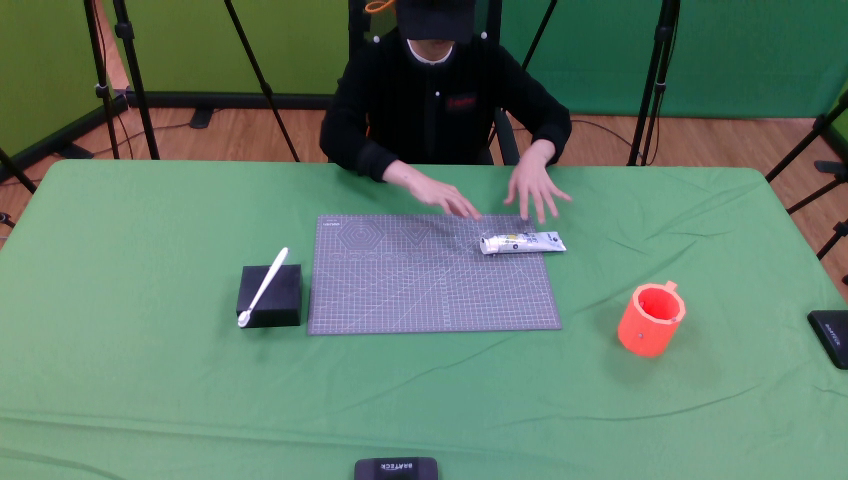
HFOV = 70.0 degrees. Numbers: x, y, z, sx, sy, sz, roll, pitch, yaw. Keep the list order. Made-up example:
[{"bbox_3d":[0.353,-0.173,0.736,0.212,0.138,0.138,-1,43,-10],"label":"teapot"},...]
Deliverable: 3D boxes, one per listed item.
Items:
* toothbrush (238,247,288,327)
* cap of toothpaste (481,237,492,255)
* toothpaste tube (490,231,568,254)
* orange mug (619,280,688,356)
[{"bbox_3d":[-0.274,0.075,1.040,0.014,0.017,0.181,11,46,11],"label":"toothbrush"},{"bbox_3d":[0.122,0.011,1.176,0.011,0.037,0.037,-15,49,-16],"label":"cap of toothpaste"},{"bbox_3d":[0.201,0.006,1.195,0.165,0.035,0.054,-5,51,-14],"label":"toothpaste tube"},{"bbox_3d":[0.401,0.125,1.045,0.083,0.101,0.126,30,56,24],"label":"orange mug"}]
